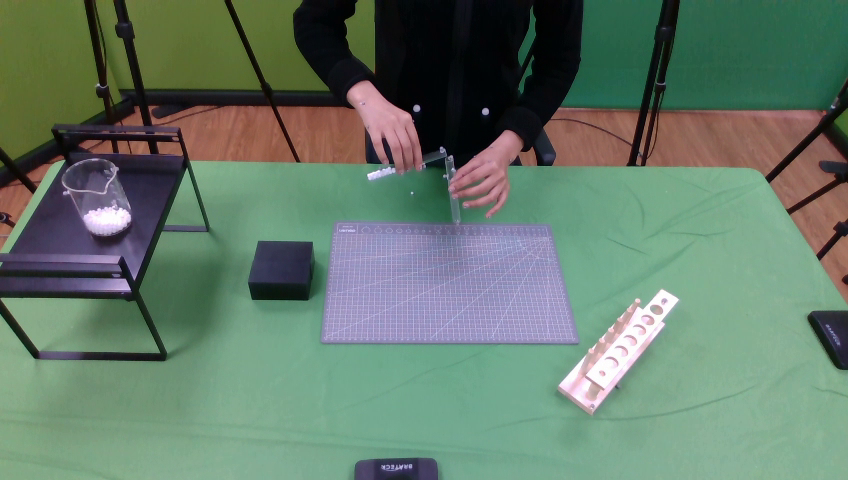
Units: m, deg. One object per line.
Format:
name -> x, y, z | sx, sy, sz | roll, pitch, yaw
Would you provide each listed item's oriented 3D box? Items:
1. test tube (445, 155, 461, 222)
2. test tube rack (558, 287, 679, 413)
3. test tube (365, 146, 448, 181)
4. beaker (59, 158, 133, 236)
test tube -> 0.053, -0.090, 1.107 | 0.017, 0.151, 0.017 | -5, 42, 5
test tube rack -> 0.326, 0.170, 1.009 | 0.066, 0.085, 0.242 | 36, 54, 26
test tube -> -0.031, -0.133, 1.055 | 0.150, 0.017, 0.017 | -19, 48, 3
beaker -> -0.488, -0.060, 0.915 | 0.074, 0.101, 0.083 | -35, 58, -31
